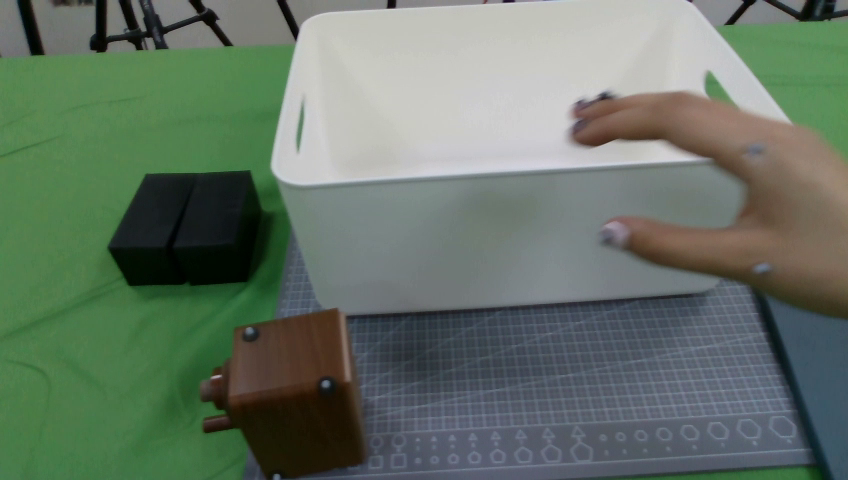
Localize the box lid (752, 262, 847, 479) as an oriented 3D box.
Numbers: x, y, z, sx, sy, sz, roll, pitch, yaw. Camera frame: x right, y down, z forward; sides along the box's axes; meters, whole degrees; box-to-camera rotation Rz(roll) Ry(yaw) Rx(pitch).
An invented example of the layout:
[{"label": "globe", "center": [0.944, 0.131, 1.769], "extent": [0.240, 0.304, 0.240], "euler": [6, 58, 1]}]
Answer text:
[{"label": "box lid", "center": [0.455, 0.120, 0.437], "extent": [0.371, 0.015, 0.261], "euler": [2, 45, 4]}]

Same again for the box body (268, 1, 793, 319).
[{"label": "box body", "center": [0.072, -0.076, 0.540], "extent": [0.364, 0.162, 0.251], "euler": [-4, 45, -1]}]

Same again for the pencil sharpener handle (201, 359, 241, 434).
[{"label": "pencil sharpener handle", "center": [-0.133, 0.105, 0.388], "extent": [0.031, 0.068, 0.035], "euler": [-9, 48, -6]}]

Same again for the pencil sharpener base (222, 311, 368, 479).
[{"label": "pencil sharpener base", "center": [-0.082, 0.106, 0.402], "extent": [0.077, 0.108, 0.060], "euler": [-9, 46, -6]}]
